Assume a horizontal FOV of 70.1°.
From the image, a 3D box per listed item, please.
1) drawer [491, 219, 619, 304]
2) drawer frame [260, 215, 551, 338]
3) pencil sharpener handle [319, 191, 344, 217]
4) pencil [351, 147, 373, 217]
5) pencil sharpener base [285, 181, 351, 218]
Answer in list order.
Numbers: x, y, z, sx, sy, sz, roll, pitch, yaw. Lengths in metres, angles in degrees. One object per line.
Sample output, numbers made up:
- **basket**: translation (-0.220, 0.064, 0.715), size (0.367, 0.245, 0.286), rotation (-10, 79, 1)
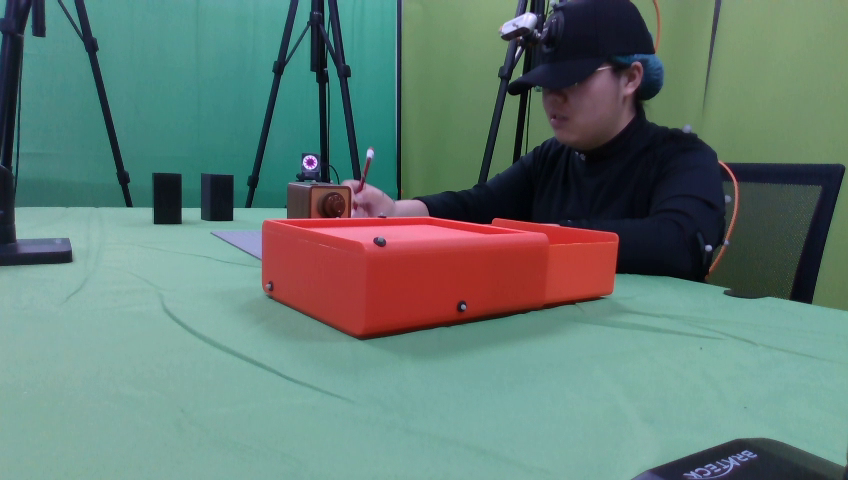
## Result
- **drawer**: translation (0.071, 0.021, 0.669), size (0.213, 0.073, 0.193), rotation (-3, 9, -39)
- **drawer frame**: translation (-0.021, 0.024, 0.595), size (0.215, 0.082, 0.200), rotation (-4, 10, -38)
- **pencil sharpener handle**: translation (-0.107, -0.026, 0.747), size (0.036, 0.067, 0.030), rotation (-5, 11, -36)
- **pencil**: translation (-0.109, -0.103, 1.051), size (0.012, 0.012, 0.194), rotation (4, 44, 5)
- **pencil sharpener base**: translation (-0.139, -0.021, 0.789), size (0.062, 0.107, 0.076), rotation (-2, 9, -36)
